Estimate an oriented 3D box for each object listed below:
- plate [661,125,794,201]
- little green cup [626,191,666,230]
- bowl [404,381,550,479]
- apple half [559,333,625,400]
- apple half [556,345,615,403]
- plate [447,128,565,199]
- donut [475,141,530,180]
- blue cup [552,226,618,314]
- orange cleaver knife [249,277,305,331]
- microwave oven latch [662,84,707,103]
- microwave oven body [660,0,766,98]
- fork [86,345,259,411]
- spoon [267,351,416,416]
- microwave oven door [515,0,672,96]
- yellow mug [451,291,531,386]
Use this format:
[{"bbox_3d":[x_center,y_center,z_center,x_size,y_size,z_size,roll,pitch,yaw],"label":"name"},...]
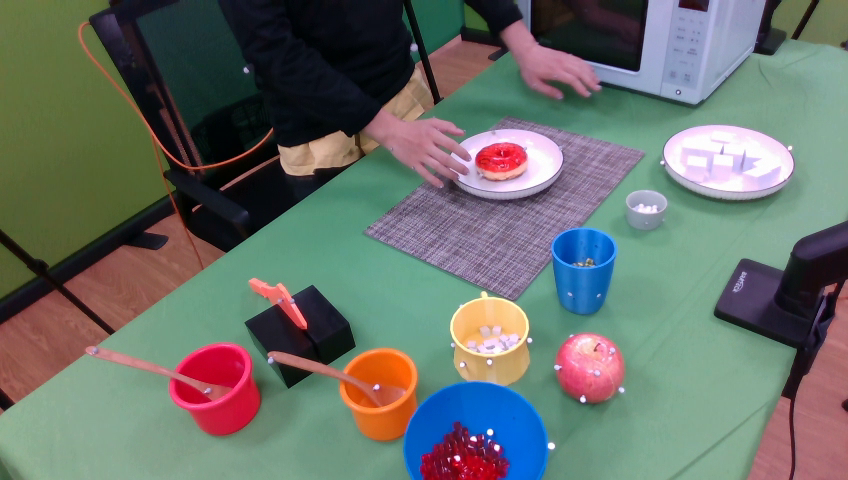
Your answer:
[{"bbox_3d":[0.513,-0.128,1.035,0.207,0.039,0.206,-4,40,4],"label":"plate"},{"bbox_3d":[0.352,-0.046,0.963,0.061,0.039,0.061,-4,40,4],"label":"little green cup"},{"bbox_3d":[0.058,0.235,0.645,0.151,0.077,0.150,-4,39,4],"label":"bowl"},{"bbox_3d":[0.209,0.147,0.730,0.080,0.075,0.053,26,48,38],"label":"apple half"},{"bbox_3d":[0.181,0.167,0.709,0.080,0.081,0.033,29,50,35],"label":"apple half"},{"bbox_3d":[0.147,-0.134,1.092,0.209,0.038,0.208,-4,40,4],"label":"plate"},{"bbox_3d":[0.141,-0.145,1.089,0.099,0.048,0.098,-5,38,5],"label":"donut"},{"bbox_3d":[0.218,0.047,0.826,0.092,0.101,0.092,-6,40,5],"label":"blue cup"},{"bbox_3d":[-0.210,0.088,0.855,0.012,0.077,0.210,-28,15,-25],"label":"orange cleaver knife"},{"bbox_3d":[0.517,-0.296,1.204,0.078,0.029,0.030,27,52,35],"label":"microwave oven latch"},{"bbox_3d":[0.472,-0.513,1.317,0.438,0.261,0.327,26,51,34],"label":"microwave oven body"},{"bbox_3d":[-0.298,0.166,0.728,0.209,0.018,0.028,28,47,-23],"label":"fork"},{"bbox_3d":[-0.090,0.162,0.699,0.021,0.195,0.041,-44,31,27],"label":"spoon"},{"bbox_3d":[0.344,-0.455,1.259,0.353,0.245,0.039,26,51,33],"label":"microwave oven door"},{"bbox_3d":[0.085,0.120,0.786,0.100,0.064,0.130,-7,39,1],"label":"yellow mug"}]
